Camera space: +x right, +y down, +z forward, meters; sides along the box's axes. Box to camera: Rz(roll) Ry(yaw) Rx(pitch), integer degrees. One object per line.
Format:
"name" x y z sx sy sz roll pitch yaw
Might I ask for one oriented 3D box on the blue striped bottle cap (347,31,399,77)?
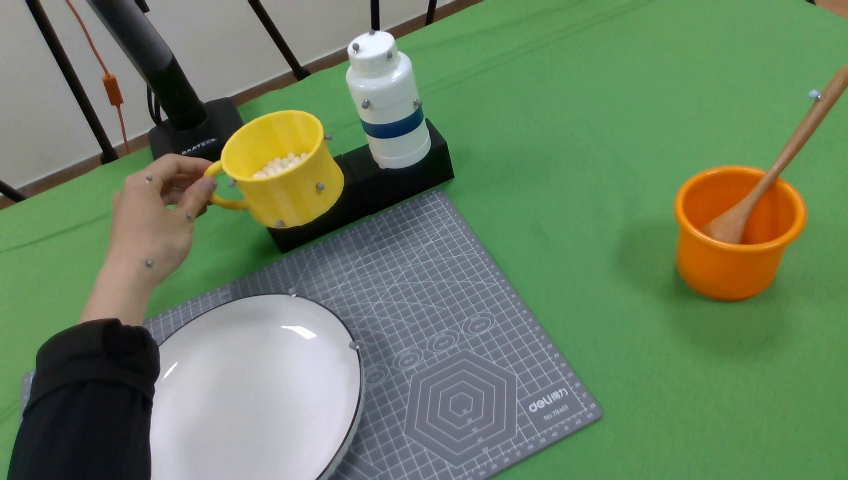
"blue striped bottle cap" -0.046 -0.166 0.541 0.044 0.021 0.044 -9 48 11

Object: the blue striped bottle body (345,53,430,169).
"blue striped bottle body" -0.036 -0.132 0.579 0.063 0.122 0.062 -8 48 9

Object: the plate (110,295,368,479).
"plate" -0.142 0.138 0.489 0.207 0.039 0.205 -7 47 9

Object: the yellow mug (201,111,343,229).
"yellow mug" -0.151 -0.064 0.588 0.131 0.064 0.099 -19 47 -1

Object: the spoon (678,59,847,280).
"spoon" 0.262 -0.050 0.468 0.194 0.022 0.041 -58 45 17
